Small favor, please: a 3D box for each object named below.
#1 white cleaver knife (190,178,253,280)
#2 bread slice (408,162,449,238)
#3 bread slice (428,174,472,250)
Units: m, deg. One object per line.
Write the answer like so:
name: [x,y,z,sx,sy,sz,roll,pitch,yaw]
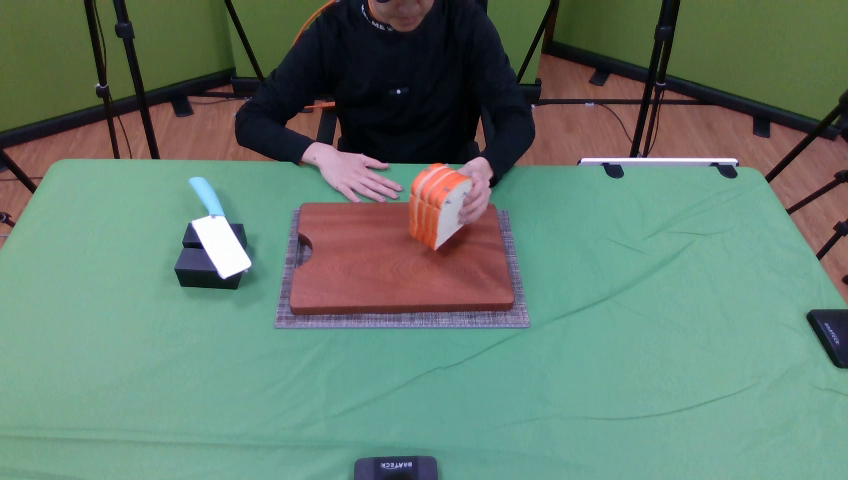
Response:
white cleaver knife: [-0.396,-0.030,1.137,0.066,0.021,0.284,-21,49,-23]
bread slice: [0.009,-0.080,1.110,0.019,0.132,0.105,30,53,29]
bread slice: [0.046,-0.055,1.088,0.018,0.135,0.107,33,59,23]
